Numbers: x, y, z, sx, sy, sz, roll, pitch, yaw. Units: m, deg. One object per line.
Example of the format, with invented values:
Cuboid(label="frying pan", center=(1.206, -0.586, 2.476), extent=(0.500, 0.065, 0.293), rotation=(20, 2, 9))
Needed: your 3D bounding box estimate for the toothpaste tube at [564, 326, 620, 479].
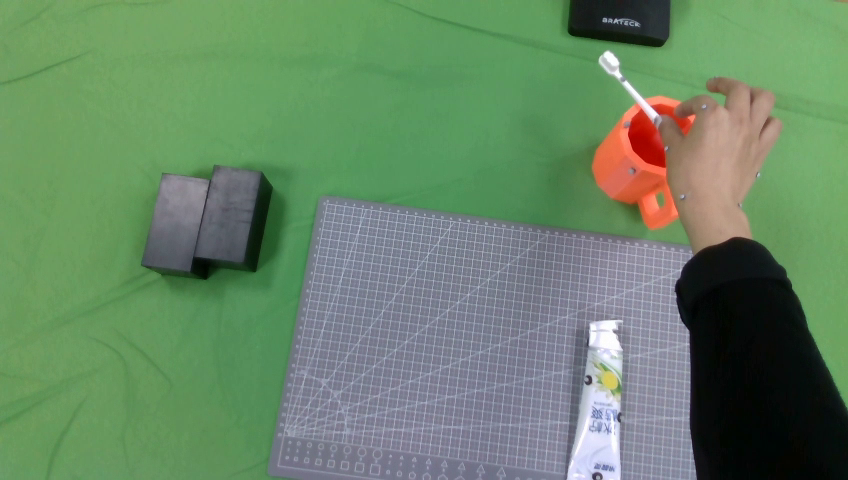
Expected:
Cuboid(label="toothpaste tube", center=(0.180, 0.167, 0.630), extent=(0.055, 0.034, 0.164), rotation=(5, 81, 7))

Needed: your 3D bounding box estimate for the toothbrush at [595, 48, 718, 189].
Cuboid(label="toothbrush", center=(0.234, -0.124, 0.608), extent=(0.014, 0.017, 0.181), rotation=(-35, 81, -12))

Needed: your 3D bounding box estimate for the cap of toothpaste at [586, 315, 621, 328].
Cuboid(label="cap of toothpaste", center=(0.190, 0.087, 0.641), extent=(0.037, 0.037, 0.011), rotation=(-5, 74, -3))

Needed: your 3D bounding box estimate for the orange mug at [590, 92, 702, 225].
Cuboid(label="orange mug", center=(0.241, -0.082, 0.653), extent=(0.083, 0.101, 0.125), rotation=(-13, 74, -4))
